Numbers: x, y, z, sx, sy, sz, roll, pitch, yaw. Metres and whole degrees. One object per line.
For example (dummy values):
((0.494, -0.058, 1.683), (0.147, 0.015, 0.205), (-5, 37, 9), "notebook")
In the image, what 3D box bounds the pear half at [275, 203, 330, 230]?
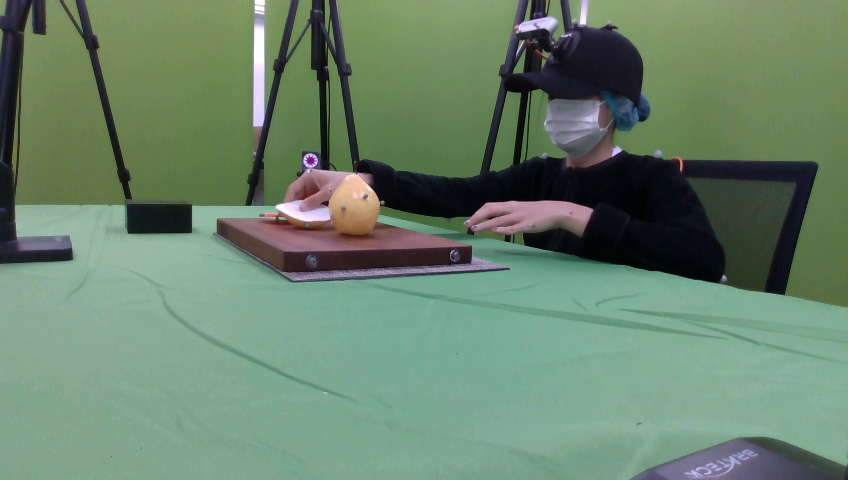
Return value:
((-0.192, -0.035, 0.958), (0.088, 0.031, 0.070), (7, 18, -11), "pear half")

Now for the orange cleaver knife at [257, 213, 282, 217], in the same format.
((-0.209, -0.044, 1.088), (0.077, 0.012, 0.212), (3, 3, 31), "orange cleaver knife")

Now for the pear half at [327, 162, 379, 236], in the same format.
((-0.099, -0.060, 0.889), (0.077, 0.110, 0.055), (-7, 12, -35), "pear half")
